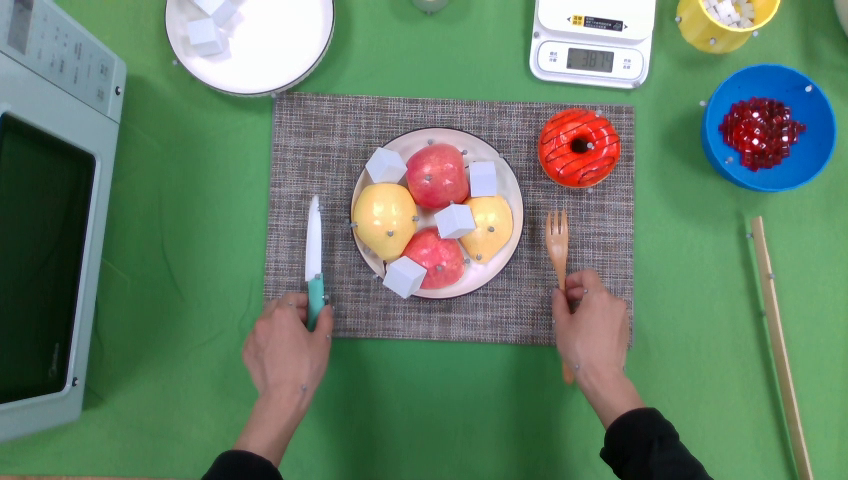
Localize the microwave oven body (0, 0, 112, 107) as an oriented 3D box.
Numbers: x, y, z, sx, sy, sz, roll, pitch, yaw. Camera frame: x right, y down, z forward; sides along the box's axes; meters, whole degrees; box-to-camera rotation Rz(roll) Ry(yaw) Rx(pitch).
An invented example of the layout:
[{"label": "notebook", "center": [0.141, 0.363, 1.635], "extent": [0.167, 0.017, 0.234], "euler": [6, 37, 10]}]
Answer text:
[{"label": "microwave oven body", "center": [-0.546, -0.041, 0.614], "extent": [0.326, 0.260, 0.440], "euler": [5, 85, 0]}]

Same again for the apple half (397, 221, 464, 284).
[{"label": "apple half", "center": [0.007, 0.015, 0.714], "extent": [0.081, 0.033, 0.081], "euler": [0, 79, -1]}]

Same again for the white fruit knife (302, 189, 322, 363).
[{"label": "white fruit knife", "center": [-0.133, 0.042, 0.718], "extent": [0.027, 0.016, 0.207], "euler": [-1, 88, 25]}]

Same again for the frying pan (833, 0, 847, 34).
[{"label": "frying pan", "center": [0.682, -0.232, 0.719], "extent": [0.307, 0.103, 0.485], "euler": [-25, 77, -1]}]

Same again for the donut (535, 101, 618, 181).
[{"label": "donut", "center": [0.183, -0.119, 0.733], "extent": [0.099, 0.048, 0.099], "euler": [0, 85, 3]}]

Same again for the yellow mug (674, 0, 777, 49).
[{"label": "yellow mug", "center": [0.361, -0.309, 0.744], "extent": [0.100, 0.064, 0.130], "euler": [-30, 85, -2]}]

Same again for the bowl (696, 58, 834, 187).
[{"label": "bowl", "center": [0.389, -0.130, 0.722], "extent": [0.151, 0.077, 0.151], "euler": [0, 85, 0]}]

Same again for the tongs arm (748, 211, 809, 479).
[{"label": "tongs arm", "center": [0.439, 0.154, 0.717], "extent": [0.051, 0.026, 0.384], "euler": [-6, 86, -3]}]

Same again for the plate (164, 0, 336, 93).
[{"label": "plate", "center": [-0.212, -0.280, 0.753], "extent": [0.208, 0.039, 0.207], "euler": [0, 84, 0]}]

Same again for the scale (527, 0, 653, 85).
[{"label": "scale", "center": [0.212, -0.301, 0.760], "extent": [0.149, 0.031, 0.200], "euler": [7, 85, 1]}]

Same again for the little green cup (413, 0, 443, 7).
[{"label": "little green cup", "center": [0.005, -0.325, 0.758], "extent": [0.061, 0.039, 0.061], "euler": [0, 84, 0]}]

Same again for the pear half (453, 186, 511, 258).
[{"label": "pear half", "center": [0.067, -0.023, 0.720], "extent": [0.070, 0.031, 0.087], "euler": [4, 82, 14]}]

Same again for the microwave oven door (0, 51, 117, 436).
[{"label": "microwave oven door", "center": [-0.404, 0.013, 0.605], "extent": [0.039, 0.244, 0.355], "euler": [4, 84, 1]}]

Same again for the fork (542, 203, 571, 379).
[{"label": "fork", "center": [0.160, 0.060, 0.714], "extent": [0.028, 0.019, 0.207], "euler": [-5, 92, 30]}]

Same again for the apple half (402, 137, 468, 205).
[{"label": "apple half", "center": [0.012, -0.083, 0.715], "extent": [0.074, 0.053, 0.080], "euler": [-10, 88, 2]}]

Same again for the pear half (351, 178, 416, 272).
[{"label": "pear half", "center": [-0.046, -0.018, 0.704], "extent": [0.076, 0.056, 0.109], "euler": [-4, 89, -8]}]

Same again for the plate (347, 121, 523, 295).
[{"label": "plate", "center": [0.014, -0.037, 0.728], "extent": [0.209, 0.038, 0.208], "euler": [0, 85, -1]}]

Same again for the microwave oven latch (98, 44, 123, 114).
[{"label": "microwave oven latch", "center": [-0.382, -0.193, 0.726], "extent": [0.030, 0.029, 0.079], "euler": [6, 85, 0]}]
